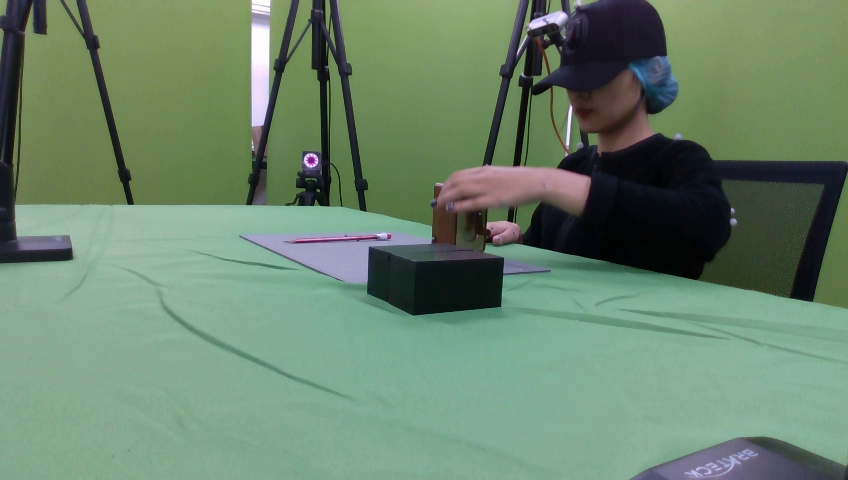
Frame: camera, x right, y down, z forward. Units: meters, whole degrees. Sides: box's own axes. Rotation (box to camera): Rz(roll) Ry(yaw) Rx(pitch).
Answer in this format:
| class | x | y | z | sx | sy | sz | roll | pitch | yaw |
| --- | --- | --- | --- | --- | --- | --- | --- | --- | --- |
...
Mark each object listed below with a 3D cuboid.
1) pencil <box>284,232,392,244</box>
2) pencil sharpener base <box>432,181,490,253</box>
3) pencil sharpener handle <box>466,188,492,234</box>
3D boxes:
| class | x | y | z | sx | sy | sz | roll | pitch | yaw |
| --- | --- | --- | --- | --- | --- | --- | --- | --- | --- |
| pencil | -0.138 | -0.002 | 1.003 | 0.195 | 0.012 | 0.012 | -5 | 9 | -33 |
| pencil sharpener base | 0.058 | -0.036 | 0.944 | 0.062 | 0.107 | 0.076 | -1 | 9 | -31 |
| pencil sharpener handle | 0.087 | -0.042 | 0.900 | 0.036 | 0.068 | 0.030 | -14 | 15 | -28 |
